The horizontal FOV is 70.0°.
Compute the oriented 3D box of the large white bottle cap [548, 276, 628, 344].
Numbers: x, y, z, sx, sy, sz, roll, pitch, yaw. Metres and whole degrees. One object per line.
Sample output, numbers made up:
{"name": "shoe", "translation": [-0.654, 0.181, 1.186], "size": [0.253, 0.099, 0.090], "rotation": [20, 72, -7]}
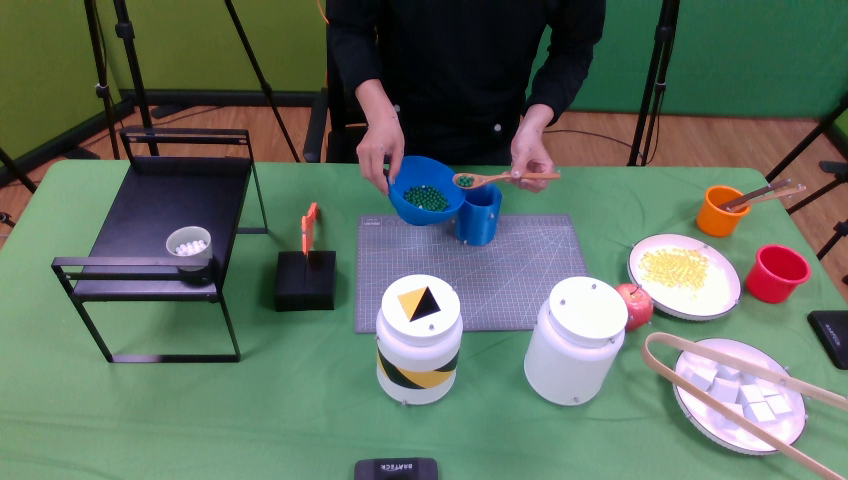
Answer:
{"name": "large white bottle cap", "translation": [0.240, 0.100, 0.890], "size": [0.115, 0.018, 0.114], "rotation": [3, 47, -3]}

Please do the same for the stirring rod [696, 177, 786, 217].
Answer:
{"name": "stirring rod", "translation": [0.648, -0.087, 1.244], "size": [0.176, 0.006, 0.014], "rotation": [-25, 50, 29]}

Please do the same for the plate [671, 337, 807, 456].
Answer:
{"name": "plate", "translation": [0.504, 0.254, 0.984], "size": [0.208, 0.039, 0.206], "rotation": [2, 46, -2]}

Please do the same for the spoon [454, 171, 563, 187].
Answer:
{"name": "spoon", "translation": [0.148, -0.113, 1.082], "size": [0.193, 0.022, 0.041], "rotation": [-3, 43, 19]}

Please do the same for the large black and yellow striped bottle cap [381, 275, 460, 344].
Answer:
{"name": "large black and yellow striped bottle cap", "translation": [-0.005, 0.098, 0.875], "size": [0.115, 0.019, 0.114], "rotation": [2, 45, -2]}

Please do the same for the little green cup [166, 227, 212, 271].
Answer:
{"name": "little green cup", "translation": [-0.344, 0.014, 0.895], "size": [0.061, 0.039, 0.061], "rotation": [3, 46, -3]}

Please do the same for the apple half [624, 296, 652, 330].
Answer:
{"name": "apple half", "translation": [0.368, 0.135, 1.060], "size": [0.081, 0.081, 0.032], "rotation": [-11, 43, -15]}

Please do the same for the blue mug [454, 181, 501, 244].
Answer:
{"name": "blue mug", "translation": [0.106, -0.067, 1.208], "size": [0.082, 0.106, 0.116], "rotation": [5, 46, 1]}

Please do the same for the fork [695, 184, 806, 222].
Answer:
{"name": "fork", "translation": [0.658, -0.074, 1.230], "size": [0.207, 0.019, 0.028], "rotation": [-24, 34, 36]}

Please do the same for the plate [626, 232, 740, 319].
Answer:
{"name": "plate", "translation": [0.488, 0.071, 1.157], "size": [0.209, 0.038, 0.208], "rotation": [3, 46, -3]}

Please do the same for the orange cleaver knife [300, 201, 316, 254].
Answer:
{"name": "orange cleaver knife", "translation": [-0.221, -0.027, 1.161], "size": [0.012, 0.077, 0.210], "rotation": [-1, 15, -4]}

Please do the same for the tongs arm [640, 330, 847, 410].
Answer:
{"name": "tongs arm", "translation": [0.543, 0.225, 0.969], "size": [0.384, 0.026, 0.050], "rotation": [22, 52, 13]}

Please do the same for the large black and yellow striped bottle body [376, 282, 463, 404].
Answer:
{"name": "large black and yellow striped bottle body", "translation": [-0.010, 0.155, 0.937], "size": [0.131, 0.185, 0.130], "rotation": [2, 47, -2]}

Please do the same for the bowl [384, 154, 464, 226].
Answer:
{"name": "bowl", "translation": [-0.010, -0.080, 1.117], "size": [0.152, 0.077, 0.150], "rotation": [14, 45, -14]}

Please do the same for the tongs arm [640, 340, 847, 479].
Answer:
{"name": "tongs arm", "translation": [0.500, 0.277, 0.919], "size": [0.386, 0.028, 0.028], "rotation": [34, 59, 22]}

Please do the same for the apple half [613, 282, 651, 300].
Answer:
{"name": "apple half", "translation": [0.356, 0.109, 1.086], "size": [0.081, 0.075, 0.053], "rotation": [-14, 45, -12]}

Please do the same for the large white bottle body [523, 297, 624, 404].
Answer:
{"name": "large white bottle body", "translation": [0.235, 0.159, 0.952], "size": [0.131, 0.185, 0.130], "rotation": [2, 47, -2]}
